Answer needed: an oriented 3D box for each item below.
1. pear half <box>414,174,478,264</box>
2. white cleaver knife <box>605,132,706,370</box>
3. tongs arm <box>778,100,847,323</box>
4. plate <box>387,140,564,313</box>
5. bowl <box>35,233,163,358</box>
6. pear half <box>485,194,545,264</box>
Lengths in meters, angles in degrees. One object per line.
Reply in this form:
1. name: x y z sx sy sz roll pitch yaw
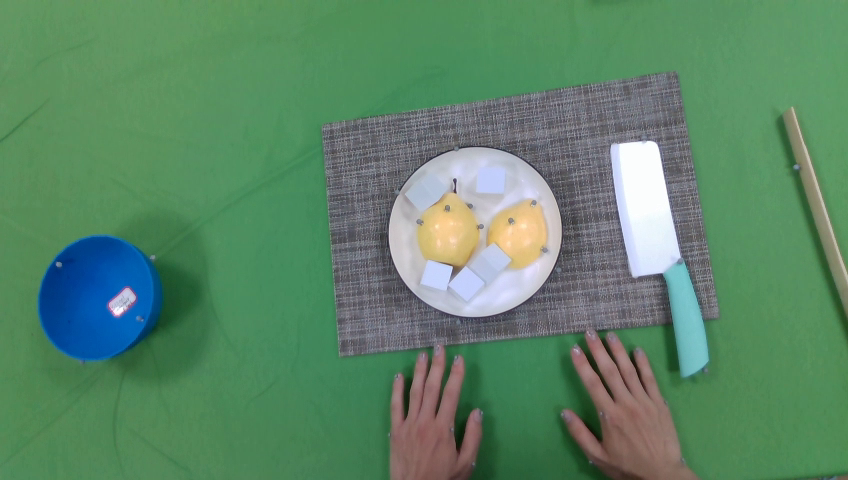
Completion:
1. pear half: 0.026 -0.030 0.718 0.076 0.056 0.109 3 79 4
2. white cleaver knife: 0.268 0.009 0.710 0.066 0.022 0.285 -12 77 13
3. tongs arm: 0.469 0.023 0.678 0.028 0.028 0.386 -15 81 3
4. plate: 0.061 -0.015 0.726 0.207 0.039 0.207 -1 82 7
5. bowl: -0.386 0.070 0.753 0.151 0.077 0.151 -1 82 7
6. pear half: 0.109 -0.015 0.714 0.070 0.031 0.088 25 92 6
